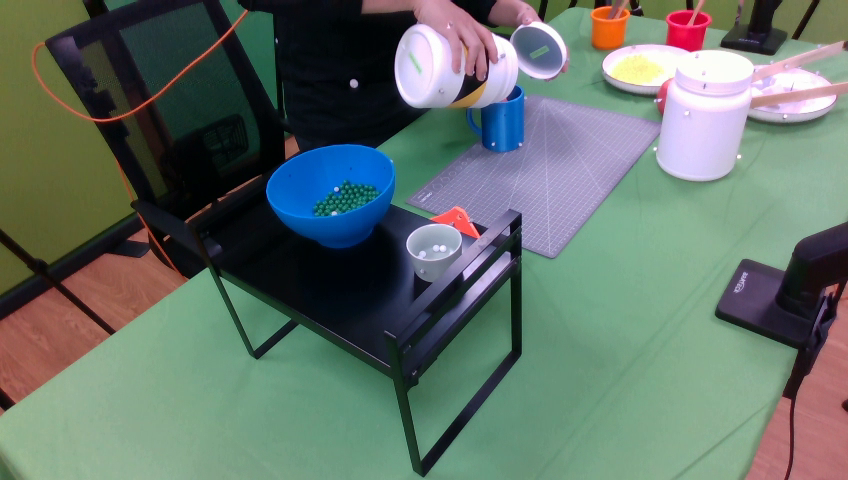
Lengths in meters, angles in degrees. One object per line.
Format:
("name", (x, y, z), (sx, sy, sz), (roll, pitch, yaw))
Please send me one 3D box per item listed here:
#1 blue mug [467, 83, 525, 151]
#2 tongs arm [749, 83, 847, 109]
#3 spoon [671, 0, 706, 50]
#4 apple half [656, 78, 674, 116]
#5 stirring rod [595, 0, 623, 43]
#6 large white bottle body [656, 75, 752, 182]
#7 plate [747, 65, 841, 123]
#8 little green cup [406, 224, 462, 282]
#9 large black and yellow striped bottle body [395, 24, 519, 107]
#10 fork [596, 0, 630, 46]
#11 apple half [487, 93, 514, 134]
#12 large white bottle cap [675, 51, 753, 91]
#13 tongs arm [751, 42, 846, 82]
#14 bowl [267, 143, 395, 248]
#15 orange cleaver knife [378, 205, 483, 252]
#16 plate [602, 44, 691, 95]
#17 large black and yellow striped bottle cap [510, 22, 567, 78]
("blue mug", (0.138, -0.241, 1.169), (0.116, 0.106, 0.082), (11, 44, 21))
("tongs arm", (0.734, -0.280, 1.133), (0.388, 0.028, 0.028), (-9, 47, -5))
("spoon", (0.629, -0.520, 1.394), (0.041, 0.022, 0.193), (30, 97, 34))
("apple half", (0.488, -0.281, 1.192), (0.053, 0.075, 0.081), (24, 54, 37))
("stirring rod", (0.460, -0.556, 1.459), (0.014, 0.006, 0.176), (30, 93, 23))
("large white bottle body", (0.472, -0.207, 1.022), (0.130, 0.185, 0.130), (-4, 41, 4))
("plate", (0.695, -0.282, 1.189), (0.207, 0.039, 0.206), (-4, 40, 4))
("little green cup", (0.013, 0.015, 0.668), (0.061, 0.039, 0.061), (-4, 40, 4))
("large black and yellow striped bottle body", (0.059, -0.294, 1.034), (0.185, 0.131, 0.129), (-9, 36, -34))
("fork", (0.481, -0.556, 1.452), (0.028, 0.019, 0.207), (40, 103, 40))
("apple half", (0.141, -0.239, 1.158), (0.033, 0.081, 0.080), (-13, 40, -17))
("large white bottle cap", (0.463, -0.271, 0.967), (0.115, 0.018, 0.114), (-4, 40, 4))
("tongs arm", (0.708, -0.331, 1.193), (0.386, 0.026, 0.050), (-18, 45, -16))
("bowl", (-0.104, -0.043, 0.726), (0.151, 0.077, 0.150), (-4, 40, 4))
("orange cleaver knife", (0.005, -0.010, 0.943), (0.210, 0.077, 0.012), (-5, 23, 47))
("plate", (0.495, -0.367, 1.317), (0.209, 0.038, 0.208), (-4, 40, 4))
("large black and yellow striped bottle cap", (0.221, -0.365, 1.166), (0.114, 0.115, 0.019), (22, 60, 30))
